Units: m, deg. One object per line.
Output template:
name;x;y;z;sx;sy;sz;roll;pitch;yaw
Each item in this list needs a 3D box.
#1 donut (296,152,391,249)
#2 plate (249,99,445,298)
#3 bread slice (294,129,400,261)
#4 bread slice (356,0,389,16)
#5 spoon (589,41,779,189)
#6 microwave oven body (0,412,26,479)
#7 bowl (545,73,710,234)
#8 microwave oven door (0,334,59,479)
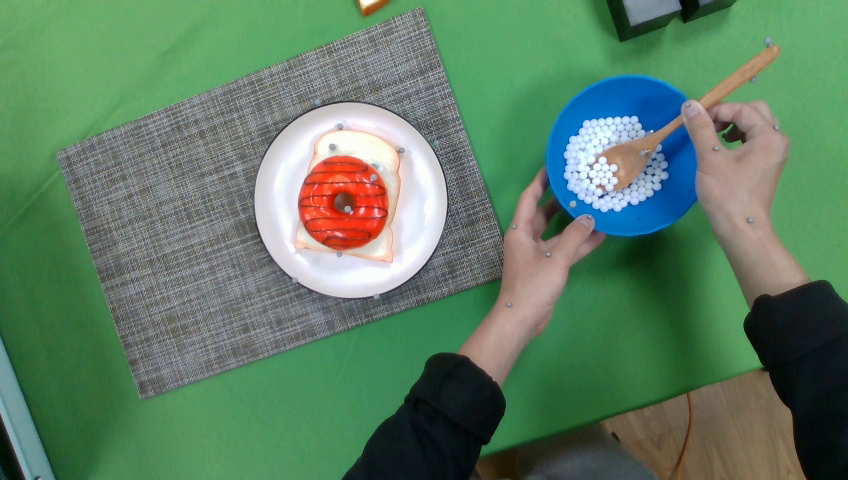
donut;-0.082;-0.040;0.618;0.099;0.048;0.099;0;93;6
plate;-0.080;-0.042;0.645;0.207;0.039;0.207;0;92;6
bread slice;-0.079;-0.050;0.645;0.107;0.018;0.134;6;93;5
bread slice;-0.057;-0.323;0.647;0.105;0.019;0.131;-34;90;5
spoon;0.231;-0.109;0.552;0.194;0.021;0.041;-40;84;40
microwave oven body;-0.649;0.165;0.599;0.326;0.260;0.441;-21;90;6
bowl;0.192;-0.080;0.600;0.151;0.077;0.151;0;91;5
microwave oven door;-0.498;0.152;0.579;0.039;0.244;0.355;-22;90;6
